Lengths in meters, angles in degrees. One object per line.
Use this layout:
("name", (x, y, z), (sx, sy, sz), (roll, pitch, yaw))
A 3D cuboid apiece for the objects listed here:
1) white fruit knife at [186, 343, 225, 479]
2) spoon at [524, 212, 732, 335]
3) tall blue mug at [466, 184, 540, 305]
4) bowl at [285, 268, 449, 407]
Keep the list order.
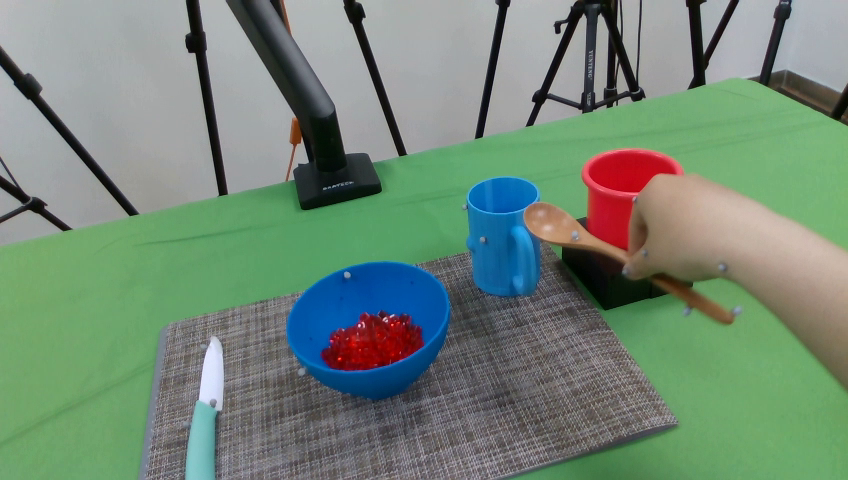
("white fruit knife", (-0.202, 0.165, 0.568), (0.027, 0.016, 0.205), (14, 26, -22))
("spoon", (0.152, 0.022, 0.479), (0.041, 0.022, 0.191), (-28, 38, -24))
("tall blue mug", (0.097, 0.011, 0.647), (0.078, 0.109, 0.106), (-30, 40, -30))
("bowl", (-0.047, 0.102, 0.570), (0.151, 0.077, 0.150), (-5, 35, 4))
